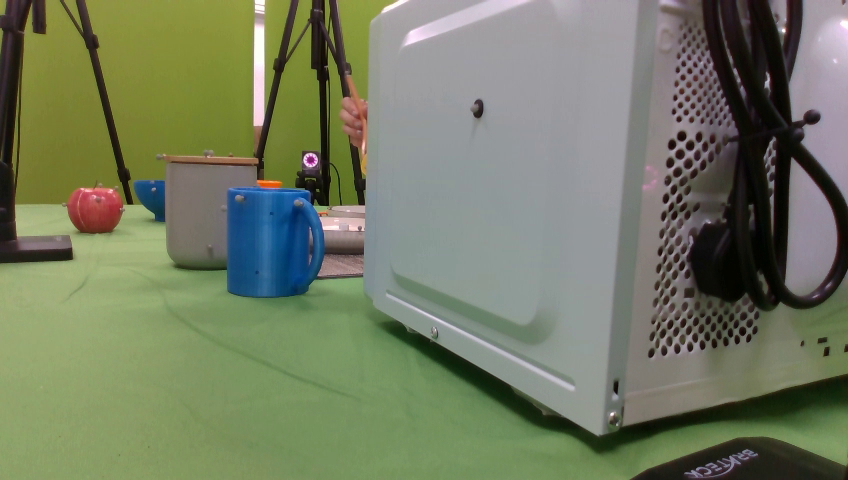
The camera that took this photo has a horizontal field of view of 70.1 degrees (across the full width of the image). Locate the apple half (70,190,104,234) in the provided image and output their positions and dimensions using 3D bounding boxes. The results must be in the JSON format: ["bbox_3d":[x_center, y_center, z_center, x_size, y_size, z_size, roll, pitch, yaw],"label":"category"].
[{"bbox_3d":[-0.552,-0.048,1.010,0.053,0.074,0.081,-1,10,26],"label":"apple half"}]

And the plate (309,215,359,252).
[{"bbox_3d":[-0.130,-0.011,0.945,0.208,0.039,0.207,2,8,0],"label":"plate"}]

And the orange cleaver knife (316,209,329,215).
[{"bbox_3d":[-0.259,-0.064,1.423,0.212,0.012,0.077,-4,3,-30],"label":"orange cleaver knife"}]

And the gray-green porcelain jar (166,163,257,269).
[{"bbox_3d":[-0.263,-0.031,0.754,0.106,0.126,0.106,2,7,0],"label":"gray-green porcelain jar"}]

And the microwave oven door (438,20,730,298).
[{"bbox_3d":[0.181,-0.076,0.618,0.358,0.243,0.039,-2,8,-28],"label":"microwave oven door"}]

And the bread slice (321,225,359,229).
[{"bbox_3d":[-0.125,-0.009,0.938,0.131,0.019,0.105,6,8,32],"label":"bread slice"}]

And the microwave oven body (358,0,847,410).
[{"bbox_3d":[0.210,-0.051,0.471,0.444,0.260,0.324,-1,7,-28],"label":"microwave oven body"}]

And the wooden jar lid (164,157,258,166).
[{"bbox_3d":[-0.261,-0.093,0.746,0.108,0.020,0.108,0,9,0],"label":"wooden jar lid"}]

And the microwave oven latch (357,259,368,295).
[{"bbox_3d":[-0.019,0.031,0.529,0.079,0.029,0.030,-1,7,-26],"label":"microwave oven latch"}]

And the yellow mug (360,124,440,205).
[{"bbox_3d":[-0.025,-0.117,0.888,0.130,0.064,0.100,-43,-24,28],"label":"yellow mug"}]

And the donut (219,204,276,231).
[{"bbox_3d":[-0.316,-0.039,1.083,0.099,0.048,0.099,3,7,0],"label":"donut"}]

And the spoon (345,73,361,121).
[{"bbox_3d":[-0.097,-0.180,0.938,0.021,0.193,0.042,-18,-21,15],"label":"spoon"}]

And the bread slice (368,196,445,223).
[{"bbox_3d":[-0.040,-0.057,1.142,0.107,0.018,0.133,-8,-8,-40],"label":"bread slice"}]

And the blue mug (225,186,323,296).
[{"bbox_3d":[-0.148,0.000,0.618,0.116,0.106,0.083,7,9,33],"label":"blue mug"}]

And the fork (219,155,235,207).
[{"bbox_3d":[-0.459,-0.134,1.415,0.028,0.018,0.207,-1,-34,-24],"label":"fork"}]

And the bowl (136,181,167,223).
[{"bbox_3d":[-0.497,-0.076,1.221,0.151,0.077,0.151,2,8,0],"label":"bowl"}]

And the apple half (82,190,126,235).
[{"bbox_3d":[-0.516,-0.046,0.994,0.032,0.081,0.081,0,6,26],"label":"apple half"}]

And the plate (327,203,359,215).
[{"bbox_3d":[-0.102,-0.053,1.299,0.209,0.038,0.209,2,8,0],"label":"plate"}]
